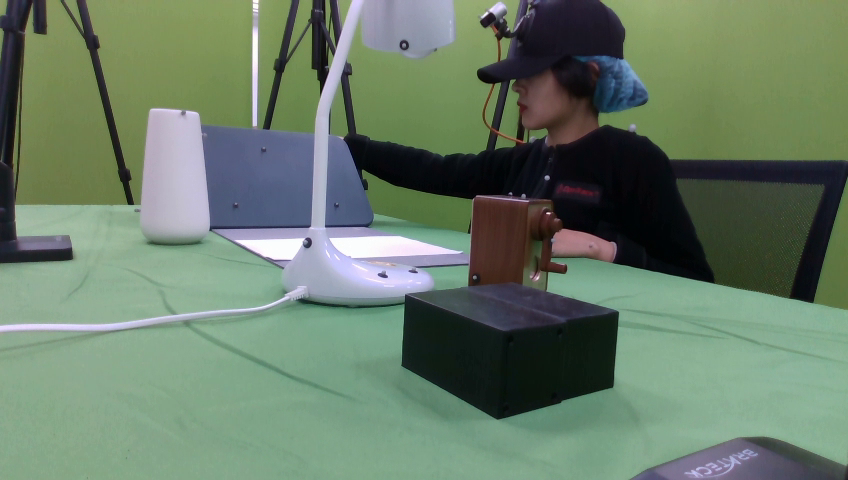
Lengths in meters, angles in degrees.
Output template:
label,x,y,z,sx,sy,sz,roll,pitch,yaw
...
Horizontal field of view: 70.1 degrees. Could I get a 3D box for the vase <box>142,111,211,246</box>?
label,x,y,z,sx,sy,sz,roll,pitch,yaw
vase,-0.378,-0.093,0.920,0.098,0.200,0.098,2,9,0

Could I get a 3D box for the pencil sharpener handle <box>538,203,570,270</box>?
label,x,y,z,sx,sy,sz,roll,pitch,yaw
pencil sharpener handle,0.137,-0.003,0.619,0.030,0.067,0.036,8,5,38

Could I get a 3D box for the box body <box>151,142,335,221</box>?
label,x,y,z,sx,sy,sz,roll,pitch,yaw
box body,-0.413,-0.134,1.379,0.366,0.160,0.253,-2,9,-31

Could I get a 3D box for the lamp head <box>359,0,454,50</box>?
label,x,y,z,sx,sy,sz,roll,pitch,yaw
lamp head,-0.024,-0.283,0.674,0.112,0.123,0.112,-3,38,3

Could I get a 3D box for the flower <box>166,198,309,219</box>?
label,x,y,z,sx,sy,sz,roll,pitch,yaw
flower,-0.399,-0.061,1.357,0.044,0.038,0.364,-38,-23,31

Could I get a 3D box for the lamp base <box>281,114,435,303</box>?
label,x,y,z,sx,sy,sz,roll,pitch,yaw
lamp base,-0.071,-0.035,0.614,0.160,0.180,0.180,5,10,27

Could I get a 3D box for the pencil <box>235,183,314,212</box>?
label,x,y,z,sx,sy,sz,roll,pitch,yaw
pencil,-0.349,-0.102,1.421,0.194,0.012,0.012,-22,15,-17

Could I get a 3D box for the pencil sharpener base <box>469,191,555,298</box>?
label,x,y,z,sx,sy,sz,roll,pitch,yaw
pencil sharpener base,0.097,0.003,0.652,0.076,0.107,0.061,8,9,38

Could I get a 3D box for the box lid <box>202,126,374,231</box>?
label,x,y,z,sx,sy,sz,roll,pitch,yaw
box lid,-0.295,-0.128,1.234,0.373,0.262,0.015,-2,-35,-32
